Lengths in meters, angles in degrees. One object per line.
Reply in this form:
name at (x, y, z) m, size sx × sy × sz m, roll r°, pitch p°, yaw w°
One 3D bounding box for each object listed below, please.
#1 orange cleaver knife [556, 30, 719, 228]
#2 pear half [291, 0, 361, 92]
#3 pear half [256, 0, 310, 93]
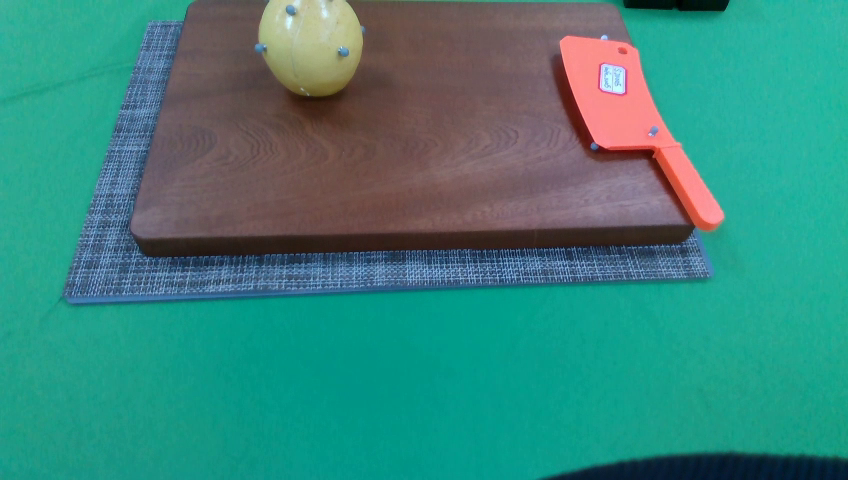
orange cleaver knife at (0.161, -0.096, 0.478) m, size 0.077 × 0.012 × 0.209 m, roll -7°, pitch 58°, yaw -12°
pear half at (-0.068, -0.150, 0.456) m, size 0.031 × 0.089 × 0.070 m, roll 23°, pitch 52°, yaw 13°
pear half at (-0.098, -0.172, 0.457) m, size 0.056 × 0.111 × 0.076 m, roll 24°, pitch 52°, yaw 13°
